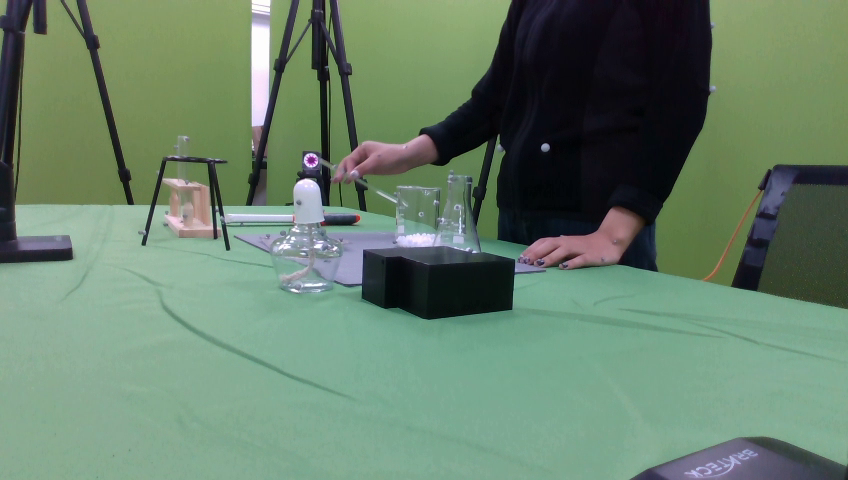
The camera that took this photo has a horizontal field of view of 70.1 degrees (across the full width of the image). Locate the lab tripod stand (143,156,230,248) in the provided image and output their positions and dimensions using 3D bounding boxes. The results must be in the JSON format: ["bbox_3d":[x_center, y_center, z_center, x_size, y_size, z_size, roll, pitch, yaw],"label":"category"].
[{"bbox_3d":[-0.338,-0.058,0.908,0.148,0.131,0.148,4,7,0],"label":"lab tripod stand"}]

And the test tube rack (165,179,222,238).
[{"bbox_3d":[-0.423,-0.062,1.098,0.067,0.085,0.241,-2,9,-28],"label":"test tube rack"}]

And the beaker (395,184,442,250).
[{"bbox_3d":[-0.009,-0.038,0.968,0.074,0.100,0.084,6,8,21],"label":"beaker"}]

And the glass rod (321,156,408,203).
[{"bbox_3d":[-0.106,-0.110,1.126,0.201,0.008,0.008,26,-7,-33],"label":"glass rod"}]

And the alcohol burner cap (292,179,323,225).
[{"bbox_3d":[-0.124,-0.040,0.632,0.034,0.048,0.034,-3,10,1],"label":"alcohol burner cap"}]

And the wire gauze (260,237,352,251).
[{"bbox_3d":[-0.184,0.004,0.938,0.122,0.011,0.124,-1,5,-24],"label":"wire gauze"}]

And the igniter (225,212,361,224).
[{"bbox_3d":[-0.262,-0.044,1.240,0.278,0.025,0.057,-2,-1,-31],"label":"igniter"}]

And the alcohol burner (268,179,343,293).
[{"bbox_3d":[-0.124,-0.005,0.637,0.078,0.119,0.078,4,8,0],"label":"alcohol burner"}]

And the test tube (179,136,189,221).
[{"bbox_3d":[-0.425,-0.108,1.070,0.017,0.150,0.017,4,9,0],"label":"test tube"}]

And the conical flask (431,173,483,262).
[{"bbox_3d":[0.049,-0.033,0.857,0.075,0.122,0.075,2,7,0],"label":"conical flask"}]
